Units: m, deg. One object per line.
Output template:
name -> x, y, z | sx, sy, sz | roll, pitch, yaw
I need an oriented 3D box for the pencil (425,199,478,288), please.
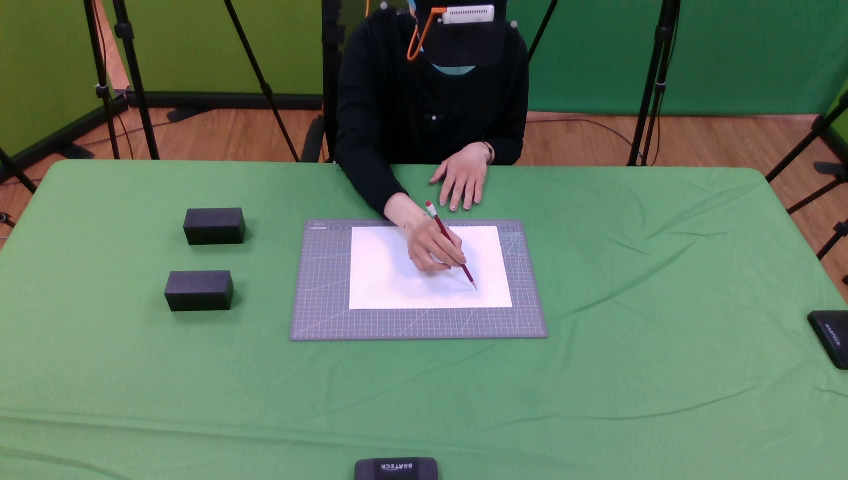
pencil -> 0.052, 0.008, 1.094 | 0.012, 0.194, 0.012 | -28, 17, 9
